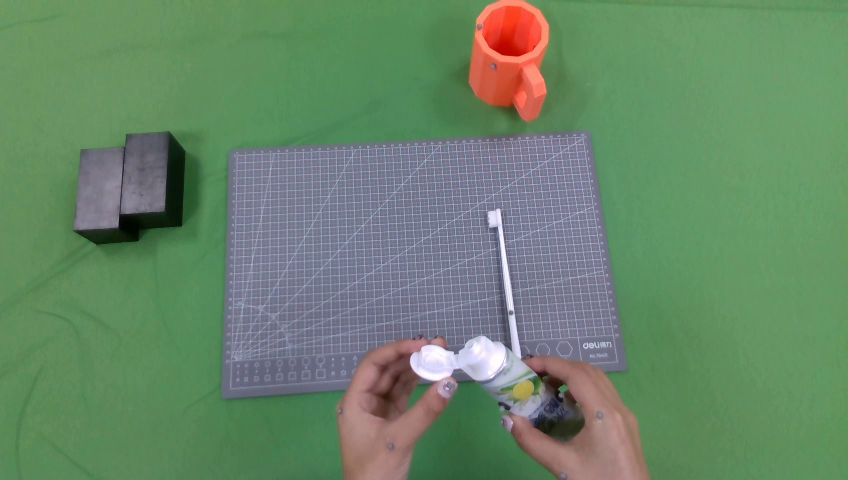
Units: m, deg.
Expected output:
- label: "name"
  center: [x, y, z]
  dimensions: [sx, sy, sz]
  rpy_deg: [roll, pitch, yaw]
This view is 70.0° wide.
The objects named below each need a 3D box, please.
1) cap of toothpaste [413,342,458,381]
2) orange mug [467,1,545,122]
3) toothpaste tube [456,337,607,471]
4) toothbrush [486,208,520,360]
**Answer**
- label: "cap of toothpaste"
  center: [0.009, 0.091, 0.463]
  dimensions: [0.037, 0.011, 0.037]
  rpy_deg: [10, 37, -7]
- label: "orange mug"
  center: [0.106, -0.211, 0.739]
  dimensions: [0.083, 0.101, 0.125]
  rpy_deg: [-24, 70, -8]
- label: "toothpaste tube"
  center: [0.085, 0.131, 0.489]
  dimensions: [0.055, 0.034, 0.166]
  rpy_deg: [-45, 114, 6]
- label: "toothbrush"
  center: [0.091, 0.049, 0.701]
  dimensions: [0.016, 0.014, 0.180]
  rpy_deg: [-7, 73, 1]
